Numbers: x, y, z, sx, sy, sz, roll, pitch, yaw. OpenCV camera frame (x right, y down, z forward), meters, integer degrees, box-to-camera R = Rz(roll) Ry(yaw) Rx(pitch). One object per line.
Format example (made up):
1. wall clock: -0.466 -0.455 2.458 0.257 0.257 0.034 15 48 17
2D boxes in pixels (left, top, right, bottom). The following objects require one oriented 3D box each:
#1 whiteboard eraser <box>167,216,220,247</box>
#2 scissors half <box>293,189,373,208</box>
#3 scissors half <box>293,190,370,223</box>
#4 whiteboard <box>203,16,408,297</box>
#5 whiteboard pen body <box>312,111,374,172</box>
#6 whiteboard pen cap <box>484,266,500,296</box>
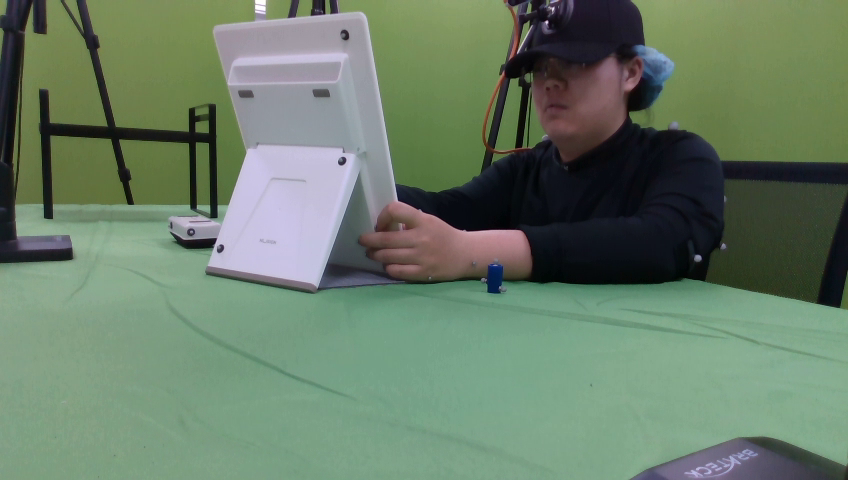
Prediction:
1. whiteboard eraser: -0.350 -0.013 0.920 0.056 0.042 0.112 0 7 -35
2. scissors half: -0.201 -0.096 1.332 0.175 0.040 0.013 5 18 -4
3. scissors half: -0.205 -0.077 1.338 0.175 0.040 0.013 22 11 -8
4. whiteboard: -0.166 -0.072 0.669 0.216 0.305 0.144 8 30 30
5. whiteboard pen body: -0.104 -0.127 0.777 0.017 0.017 0.141 7 42 28
6. whiteboard pen cap: 0.075 0.046 0.668 0.018 0.033 0.018 3 7 0
